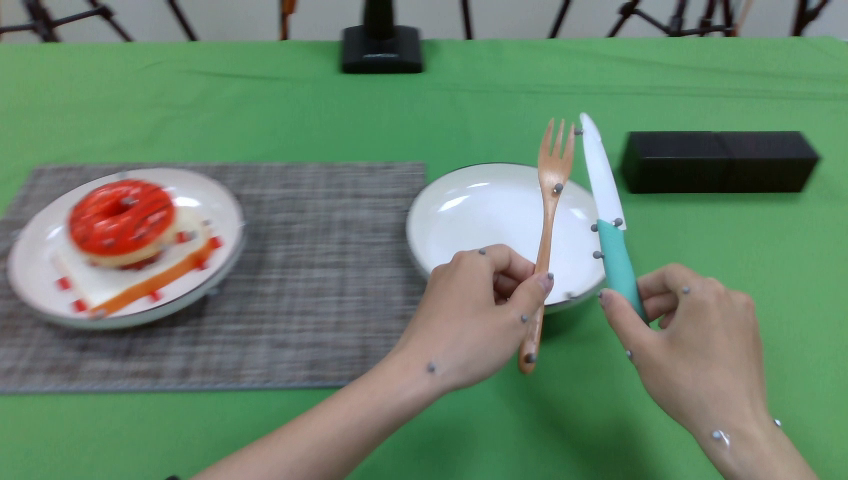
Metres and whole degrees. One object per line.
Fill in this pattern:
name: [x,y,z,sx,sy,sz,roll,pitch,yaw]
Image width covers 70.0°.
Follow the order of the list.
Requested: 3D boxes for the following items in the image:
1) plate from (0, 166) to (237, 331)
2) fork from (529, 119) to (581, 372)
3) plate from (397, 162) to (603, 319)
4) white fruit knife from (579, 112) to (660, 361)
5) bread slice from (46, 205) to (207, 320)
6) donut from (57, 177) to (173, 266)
plate: [-0.285,0.007,0.583,0.209,0.038,0.207,1,46,-1]
fork: [0.097,-0.003,0.458,0.028,0.019,0.206,-8,58,39]
plate: [0.077,0.001,0.606,0.208,0.039,0.205,1,45,-1]
white fruit knife: [0.145,-0.009,0.469,0.027,0.016,0.206,-3,70,-15]
bread slice: [-0.281,0.012,0.582,0.131,0.019,0.104,-34,56,-29]
donut: [-0.283,-0.018,0.557,0.099,0.048,0.098,1,45,-1]
